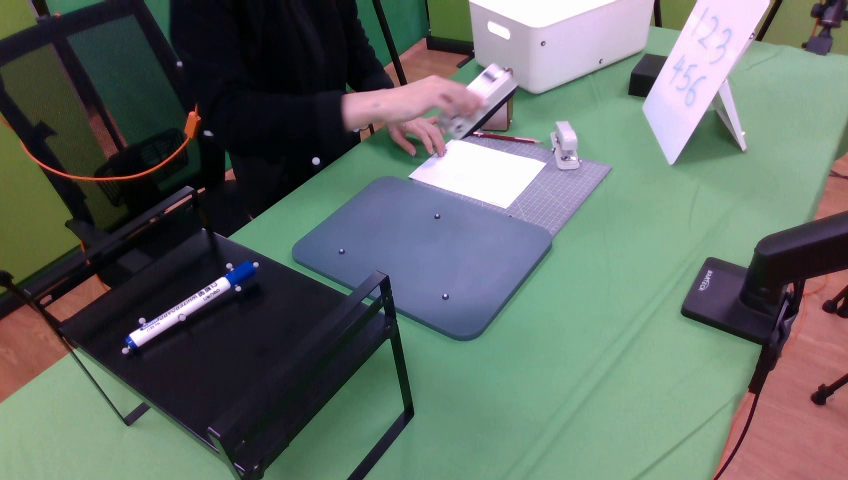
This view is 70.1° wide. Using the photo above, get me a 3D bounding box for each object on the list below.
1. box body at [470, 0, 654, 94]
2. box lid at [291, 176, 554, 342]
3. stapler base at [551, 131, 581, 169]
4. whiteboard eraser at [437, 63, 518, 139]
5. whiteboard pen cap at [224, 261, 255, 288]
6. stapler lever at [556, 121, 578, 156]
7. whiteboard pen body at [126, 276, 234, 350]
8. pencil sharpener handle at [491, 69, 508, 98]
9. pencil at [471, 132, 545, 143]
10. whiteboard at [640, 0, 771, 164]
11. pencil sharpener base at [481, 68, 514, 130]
[{"bbox_3d":[0.319,-0.498,1.405,0.365,0.161,0.252,-26,43,-21],"label":"box body"},{"bbox_3d":[-0.005,0.011,0.972,0.368,0.015,0.264,21,49,30],"label":"box lid"},{"bbox_3d":[0.268,-0.178,1.142,0.041,0.024,0.130,0,37,3],"label":"stapler base"},{"bbox_3d":[0.075,-0.190,0.839,0.112,0.042,0.055,-42,46,4],"label":"whiteboard eraser"},{"bbox_3d":[-0.207,0.039,0.677,0.033,0.018,0.018,-35,47,-18],"label":"whiteboard pen cap"},{"bbox_3d":[0.266,-0.198,1.128,0.027,0.040,0.117,0,38,3],"label":"stapler lever"},{"bbox_3d":[-0.251,0.070,0.649,0.141,0.017,0.017,-36,48,-26],"label":"whiteboard pen body"},{"bbox_3d":[0.155,-0.329,1.254,0.036,0.068,0.030,17,43,4],"label":"pencil sharpener handle"},{"bbox_3d":[0.145,-0.207,1.204,0.193,0.012,0.012,11,44,20],"label":"pencil"},{"bbox_3d":[0.543,-0.299,1.076,0.144,0.305,0.216,12,40,-7],"label":"whiteboard"},{"bbox_3d":[0.148,-0.286,1.225,0.061,0.107,0.076,5,41,15],"label":"pencil sharpener base"}]
